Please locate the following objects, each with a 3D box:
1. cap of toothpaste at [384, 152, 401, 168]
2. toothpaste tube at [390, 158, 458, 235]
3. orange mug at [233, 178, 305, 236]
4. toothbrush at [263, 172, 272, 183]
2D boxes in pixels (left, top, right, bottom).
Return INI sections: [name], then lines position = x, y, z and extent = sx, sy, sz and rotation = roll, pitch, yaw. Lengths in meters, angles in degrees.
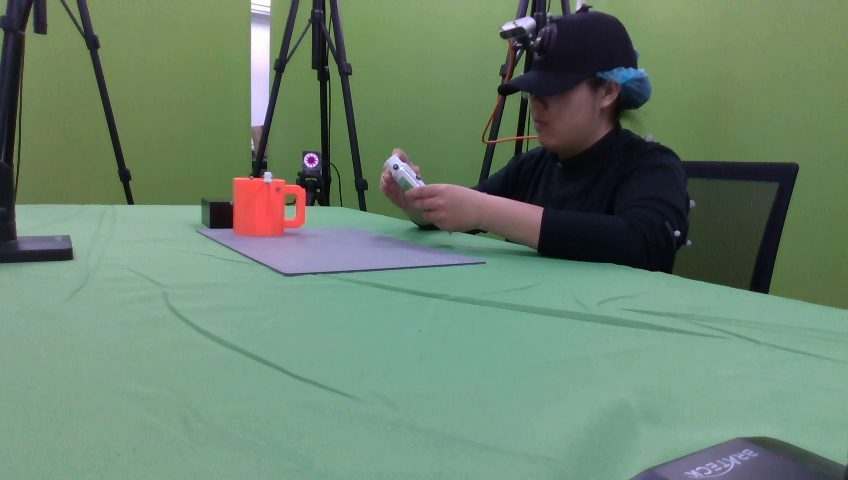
[cap of toothpaste]
position = -0.054, -0.138, 1.054
extent = 0.037, 0.011, 0.037
rotation = -41, -4, -3
[toothpaste tube]
position = -0.002, -0.080, 1.044
extent = 0.034, 0.165, 0.055
rotation = -40, -5, -18
[orange mug]
position = -0.273, -0.061, 1.067
extent = 0.127, 0.101, 0.083
rotation = -5, 10, -24
[toothbrush]
position = -0.273, -0.112, 1.055
extent = 0.014, 0.016, 0.181
rotation = -8, 10, -13
